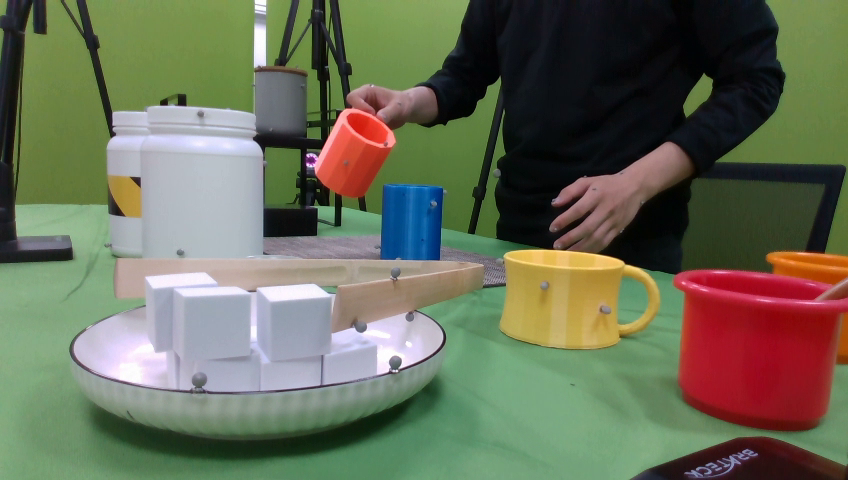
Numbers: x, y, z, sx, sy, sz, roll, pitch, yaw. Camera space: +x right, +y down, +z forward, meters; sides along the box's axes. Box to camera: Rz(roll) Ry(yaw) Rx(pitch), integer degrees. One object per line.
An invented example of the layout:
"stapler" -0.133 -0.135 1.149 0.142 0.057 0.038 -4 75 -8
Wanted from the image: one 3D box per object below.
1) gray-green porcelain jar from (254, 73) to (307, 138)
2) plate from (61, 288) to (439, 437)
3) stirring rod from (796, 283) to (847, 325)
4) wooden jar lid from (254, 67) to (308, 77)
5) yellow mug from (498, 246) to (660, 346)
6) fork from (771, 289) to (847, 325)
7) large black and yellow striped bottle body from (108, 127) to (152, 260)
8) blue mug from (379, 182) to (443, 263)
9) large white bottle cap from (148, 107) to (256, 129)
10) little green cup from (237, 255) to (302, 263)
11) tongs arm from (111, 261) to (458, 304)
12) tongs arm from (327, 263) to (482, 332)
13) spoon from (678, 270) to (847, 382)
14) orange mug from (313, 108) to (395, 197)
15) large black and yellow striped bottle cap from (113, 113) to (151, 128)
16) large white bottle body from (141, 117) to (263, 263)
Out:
"gray-green porcelain jar" -0.298 -0.277 1.259 0.106 0.126 0.106 3 7 0
"plate" -0.095 0.069 0.362 0.208 0.039 0.207 3 7 0
"stirring rod" 0.347 0.019 0.460 0.014 0.176 0.006 -17 59 -26
"wooden jar lid" -0.296 -0.339 1.251 0.108 0.020 0.108 2 7 0
"yellow mug" 0.130 0.045 0.508 0.131 0.064 0.100 4 7 6
"fork" 0.335 0.018 0.443 0.028 0.018 0.207 -1 -36 -20
"large black and yellow striped bottle body" -0.350 -0.071 0.812 0.131 0.184 0.130 2 8 0
"blue mug" -0.020 -0.026 0.833 0.082 0.106 0.116 1 7 -7
"large white bottle cap" -0.250 -0.137 0.686 0.115 0.018 0.115 3 8 0
"little green cup" -0.150 0.038 0.590 0.061 0.038 0.061 3 6 0
"tongs arm" -0.080 0.032 0.527 0.028 0.027 0.389 -3 -3 33
"tongs arm" -0.003 0.036 0.493 0.050 0.026 0.386 1 0 19
"spoon" 0.229 0.031 0.338 0.193 0.021 0.042 -44 -17 27
"orange mug" -0.097 -0.136 0.887 0.083 0.100 0.126 32 37 -5
"large black and yellow striped bottle cap" -0.348 -0.154 0.800 0.115 0.019 0.115 2 6 0
"large white bottle body" -0.254 -0.054 0.697 0.131 0.184 0.130 2 7 0
